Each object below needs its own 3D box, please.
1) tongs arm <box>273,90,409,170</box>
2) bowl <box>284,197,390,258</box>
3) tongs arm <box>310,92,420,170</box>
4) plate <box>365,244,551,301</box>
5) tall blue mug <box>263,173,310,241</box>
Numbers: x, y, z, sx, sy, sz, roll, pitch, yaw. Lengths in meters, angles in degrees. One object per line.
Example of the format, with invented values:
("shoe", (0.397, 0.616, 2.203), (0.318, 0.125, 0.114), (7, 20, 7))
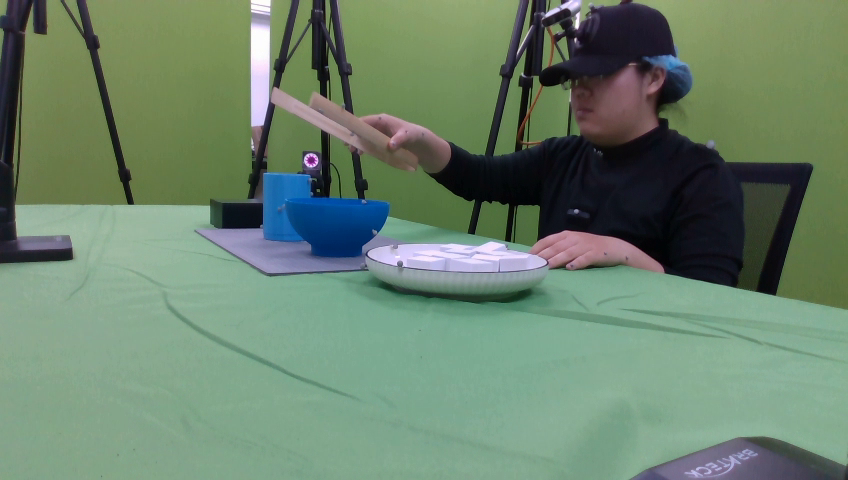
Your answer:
("tongs arm", (-0.133, -0.187, 1.081), (0.028, 0.027, 0.389), (4, -7, 29))
("bowl", (-0.125, -0.018, 0.870), (0.151, 0.077, 0.151), (2, 7, 0))
("tongs arm", (-0.095, -0.181, 1.062), (0.050, 0.026, 0.386), (8, -5, 28))
("plate", (0.038, 0.035, 0.685), (0.209, 0.038, 0.209), (2, 7, 0))
("tall blue mug", (-0.233, -0.058, 1.019), (0.078, 0.108, 0.107), (-1, 8, -19))
